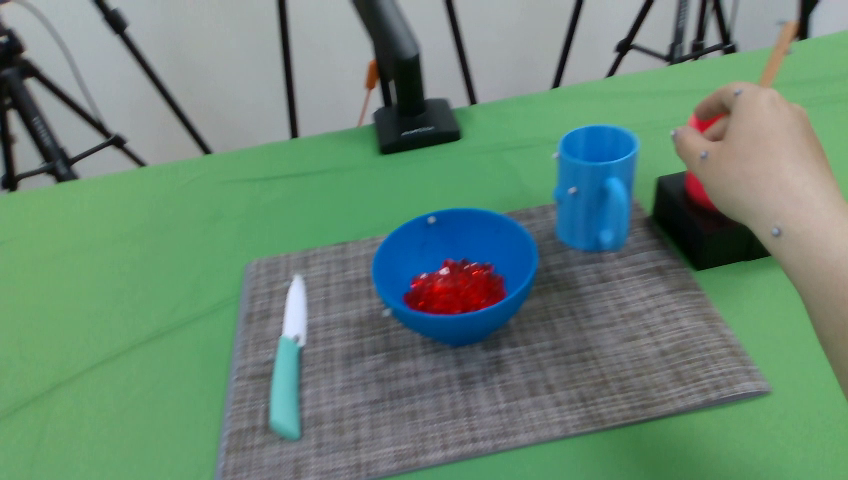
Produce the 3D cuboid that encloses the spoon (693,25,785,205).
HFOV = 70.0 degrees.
[{"bbox_3d":[0.316,-0.123,0.595,0.041,0.022,0.193,23,93,36],"label":"spoon"}]

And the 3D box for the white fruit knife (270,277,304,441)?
[{"bbox_3d":[-0.130,0.102,0.581,0.027,0.016,0.205,14,32,-19],"label":"white fruit knife"}]

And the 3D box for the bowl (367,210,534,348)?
[{"bbox_3d":[0.028,0.048,0.566,0.151,0.077,0.150,-5,39,5],"label":"bowl"}]

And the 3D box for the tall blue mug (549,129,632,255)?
[{"bbox_3d":[0.182,-0.043,0.624,0.078,0.109,0.106,-29,42,-24],"label":"tall blue mug"}]
